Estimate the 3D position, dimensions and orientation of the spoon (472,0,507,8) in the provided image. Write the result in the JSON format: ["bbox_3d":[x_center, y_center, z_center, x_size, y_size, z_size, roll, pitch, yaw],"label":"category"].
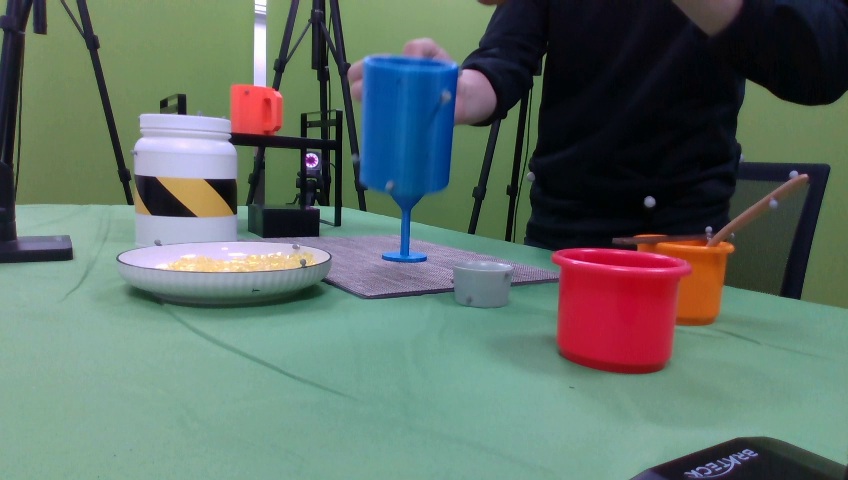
[{"bbox_3d":[0.107,-0.290,0.539,0.042,0.193,0.021,37,2,-13],"label":"spoon"}]

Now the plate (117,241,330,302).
[{"bbox_3d":[-0.203,0.031,0.630,0.209,0.038,0.209,3,7,0],"label":"plate"}]

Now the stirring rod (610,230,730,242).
[{"bbox_3d":[0.241,-0.005,0.582,0.177,0.006,0.014,-3,10,-34],"label":"stirring rod"}]

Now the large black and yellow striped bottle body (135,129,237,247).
[{"bbox_3d":[-0.327,-0.074,0.838,0.131,0.184,0.130,2,7,0],"label":"large black and yellow striped bottle body"}]

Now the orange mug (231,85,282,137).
[{"bbox_3d":[-0.335,-0.261,1.225,0.125,0.100,0.084,2,6,35],"label":"orange mug"}]

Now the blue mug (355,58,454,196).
[{"bbox_3d":[-0.022,-0.107,0.548,0.082,0.106,0.116,-1,23,-11],"label":"blue mug"}]

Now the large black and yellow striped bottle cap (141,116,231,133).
[{"bbox_3d":[-0.324,-0.157,0.826,0.115,0.019,0.115,1,7,0],"label":"large black and yellow striped bottle cap"}]

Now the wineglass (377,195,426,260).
[{"bbox_3d":[-0.026,-0.062,0.842,0.074,0.172,0.073,2,7,0],"label":"wineglass"}]

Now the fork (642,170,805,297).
[{"bbox_3d":[0.261,0.004,0.545,0.028,0.018,0.207,5,-37,-16],"label":"fork"}]

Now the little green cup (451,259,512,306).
[{"bbox_3d":[0.057,0.043,0.612,0.061,0.038,0.061,3,7,0],"label":"little green cup"}]

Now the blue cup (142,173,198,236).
[{"bbox_3d":[-0.425,-0.060,1.014,0.093,0.100,0.092,4,9,0],"label":"blue cup"}]
